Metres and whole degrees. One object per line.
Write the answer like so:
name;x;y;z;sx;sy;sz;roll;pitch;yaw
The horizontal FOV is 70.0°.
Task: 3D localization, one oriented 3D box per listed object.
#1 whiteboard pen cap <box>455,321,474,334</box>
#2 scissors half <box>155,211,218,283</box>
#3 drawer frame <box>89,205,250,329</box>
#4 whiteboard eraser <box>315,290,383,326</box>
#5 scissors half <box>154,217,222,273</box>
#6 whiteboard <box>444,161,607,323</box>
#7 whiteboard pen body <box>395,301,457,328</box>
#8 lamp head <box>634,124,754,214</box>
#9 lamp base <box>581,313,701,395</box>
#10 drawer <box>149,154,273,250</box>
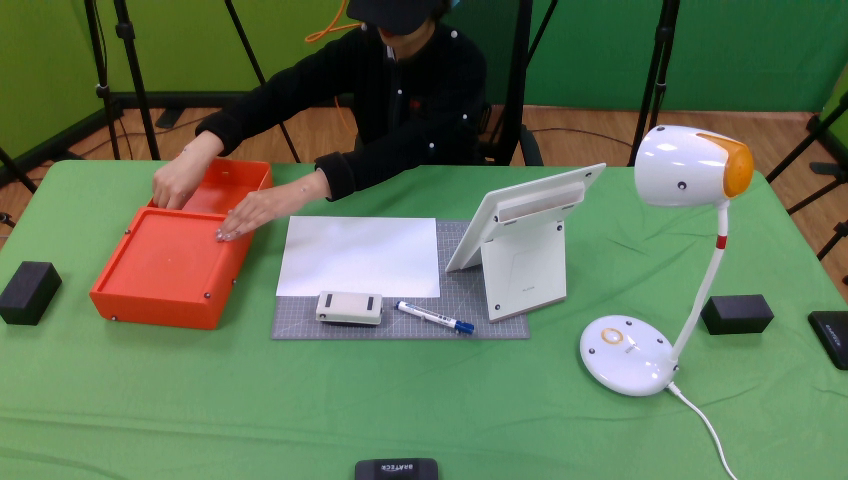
whiteboard pen cap;0.069;0.151;1.046;0.033;0.018;0.018;14;47;16
scissors half;-0.452;0.016;1.157;0.175;0.040;0.013;49;48;-3
drawer frame;-0.440;0.043;1.080;0.202;0.083;0.212;5;47;0
whiteboard eraser;-0.130;0.120;1.054;0.113;0.042;0.055;4;47;0
scissors half;-0.448;0.010;1.147;0.175;0.040;0.013;37;54;9
whiteboard;0.186;0.025;1.029;0.217;0.306;0.143;-14;68;-18
whiteboard pen body;0.015;0.134;1.064;0.140;0.017;0.017;17;47;16
lamp head;0.351;-0.089;0.775;0.112;0.113;0.122;-30;30;-28
lamp base;0.361;0.144;0.972;0.178;0.181;0.160;34;53;23
drawer;-0.424;-0.073;1.201;0.194;0.073;0.210;6;46;1
